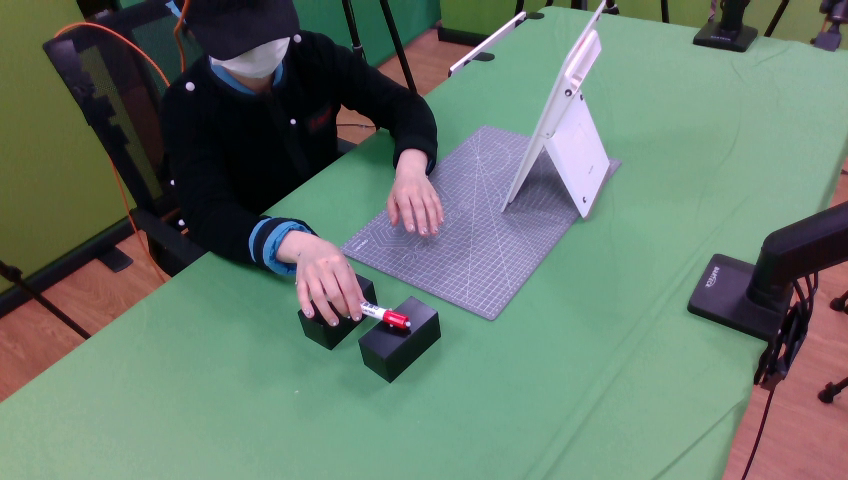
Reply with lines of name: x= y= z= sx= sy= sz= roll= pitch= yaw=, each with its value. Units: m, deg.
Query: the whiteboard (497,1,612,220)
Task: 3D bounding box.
whiteboard: x=0.260 y=-0.178 z=0.963 sx=0.143 sy=0.306 sz=0.217 roll=28 pitch=49 yaw=9

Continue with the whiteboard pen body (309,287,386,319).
whiteboard pen body: x=-0.091 y=0.086 z=0.801 sx=0.140 sy=0.017 sz=0.017 roll=15 pitch=45 yaw=21

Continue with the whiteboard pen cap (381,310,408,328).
whiteboard pen cap: x=-0.038 y=0.101 z=0.780 sx=0.032 sy=0.017 sz=0.017 roll=15 pitch=45 yaw=19
